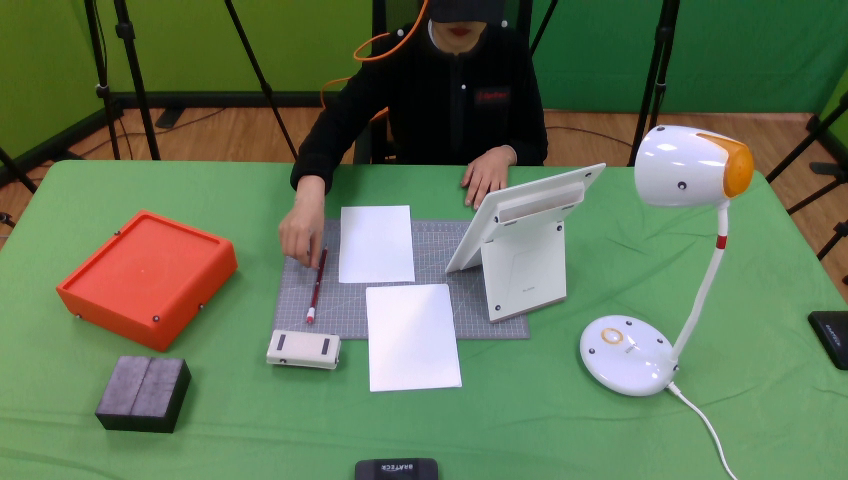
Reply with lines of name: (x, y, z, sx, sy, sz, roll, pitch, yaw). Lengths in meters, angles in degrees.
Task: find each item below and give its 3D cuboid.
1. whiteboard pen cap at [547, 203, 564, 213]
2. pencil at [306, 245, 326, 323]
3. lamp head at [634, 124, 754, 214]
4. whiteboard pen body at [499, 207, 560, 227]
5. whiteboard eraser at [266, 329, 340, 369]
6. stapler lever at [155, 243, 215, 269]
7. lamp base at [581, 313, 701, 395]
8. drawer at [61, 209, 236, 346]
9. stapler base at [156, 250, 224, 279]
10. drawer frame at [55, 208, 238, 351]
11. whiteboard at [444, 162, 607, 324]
whiteboard pen cap: (0.277, -0.066, 1.275, 0.033, 0.018, 0.018, -18, 50, -15)
pencil: (-0.196, 0.076, 1.115, 0.012, 0.012, 0.193, 4, 44, 0)
lamp head: (0.351, -0.089, 0.775, 0.112, 0.113, 0.122, -30, 30, -28)
whiteboard pen body: (0.222, -0.051, 1.259, 0.141, 0.017, 0.017, -15, 49, -16)
whiteboard eraser: (-0.198, 0.181, 0.994, 0.113, 0.042, 0.055, 5, 45, 1)
stapler lever: (-0.433, 0.023, 1.097, 0.118, 0.040, 0.026, 14, 39, 14)
lamp base: (0.361, 0.144, 0.972, 0.178, 0.181, 0.160, 34, 53, 23)
drawer: (-0.474, 0.061, 1.063, 0.194, 0.073, 0.211, 19, 49, 13)
stapler base: (-0.431, 0.040, 1.111, 0.130, 0.024, 0.041, 11, 38, 17)
drawer frame: (-0.474, 0.062, 1.059, 0.201, 0.083, 0.213, 18, 48, 12)
whiteboard: (0.186, 0.025, 1.029, 0.217, 0.306, 0.143, -15, 68, -18)
